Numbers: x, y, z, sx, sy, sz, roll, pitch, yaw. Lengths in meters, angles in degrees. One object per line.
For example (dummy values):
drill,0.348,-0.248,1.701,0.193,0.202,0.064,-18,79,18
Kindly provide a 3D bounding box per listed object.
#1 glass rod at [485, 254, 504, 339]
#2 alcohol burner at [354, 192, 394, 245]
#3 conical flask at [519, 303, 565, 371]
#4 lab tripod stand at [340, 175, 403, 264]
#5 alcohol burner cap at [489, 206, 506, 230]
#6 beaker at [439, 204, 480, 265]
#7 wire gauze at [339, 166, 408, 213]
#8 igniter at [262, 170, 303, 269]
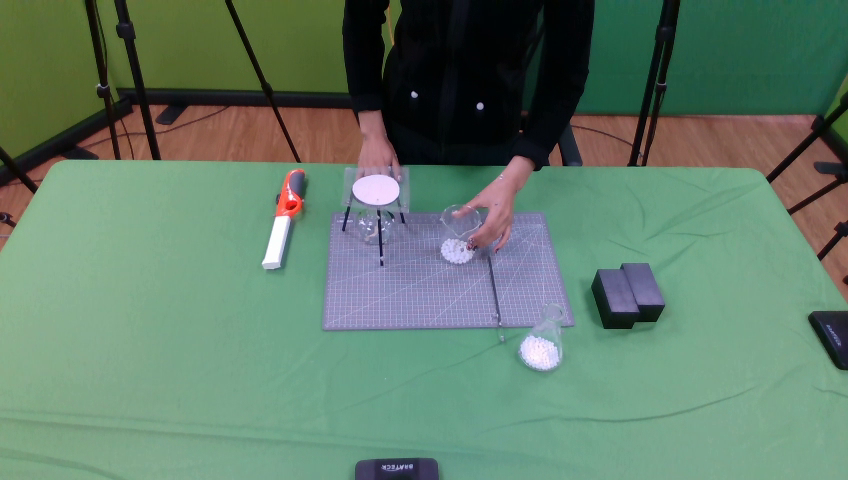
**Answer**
glass rod,0.129,0.099,1.119,0.008,0.008,0.198,-1,46,-4
alcohol burner,-0.096,-0.048,1.171,0.078,0.119,0.077,4,45,-4
conical flask,0.201,0.155,0.997,0.075,0.122,0.075,2,46,-2
lab tripod stand,-0.094,-0.050,1.160,0.148,0.132,0.147,2,44,-2
alcohol burner cap,0.152,-0.047,1.241,0.034,0.048,0.033,2,44,-1
beaker,0.065,-0.006,1.153,0.074,0.101,0.083,6,47,2
wire gauze,-0.091,-0.096,1.110,0.125,0.011,0.120,2,45,-3
igniter,-0.283,-0.050,1.222,0.057,0.025,0.275,-5,45,6
